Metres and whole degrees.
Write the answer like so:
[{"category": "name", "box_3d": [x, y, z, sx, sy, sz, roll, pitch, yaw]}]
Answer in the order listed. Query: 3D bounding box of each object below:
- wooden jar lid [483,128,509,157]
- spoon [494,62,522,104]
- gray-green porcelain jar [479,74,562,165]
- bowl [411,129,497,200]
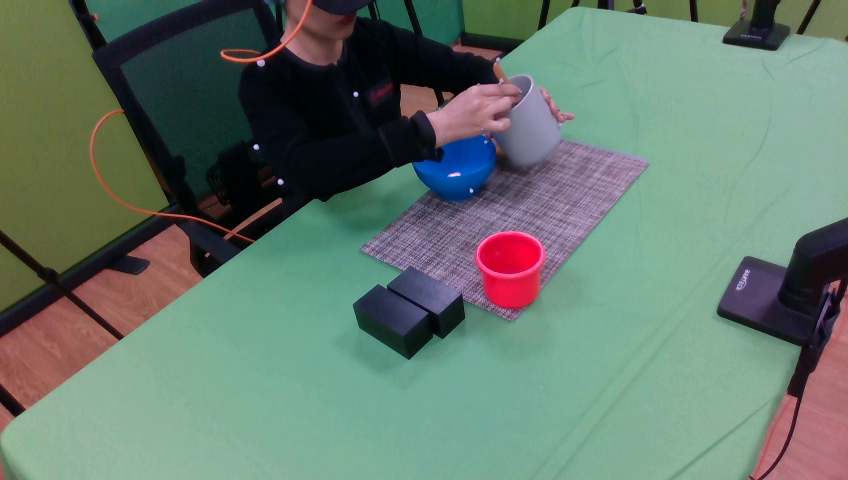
[{"category": "wooden jar lid", "box_3d": [0.165, -0.194, 1.177, 0.108, 0.021, 0.108, -4, 40, 4]}, {"category": "spoon", "box_3d": [0.158, -0.228, 0.991, 0.041, 0.195, 0.021, -52, 44, 1]}, {"category": "gray-green porcelain jar", "box_3d": [0.169, -0.200, 1.035, 0.105, 0.127, 0.105, -26, 38, 23]}, {"category": "bowl", "box_3d": [0.056, -0.124, 1.069, 0.151, 0.077, 0.150, -6, 40, 5]}]
